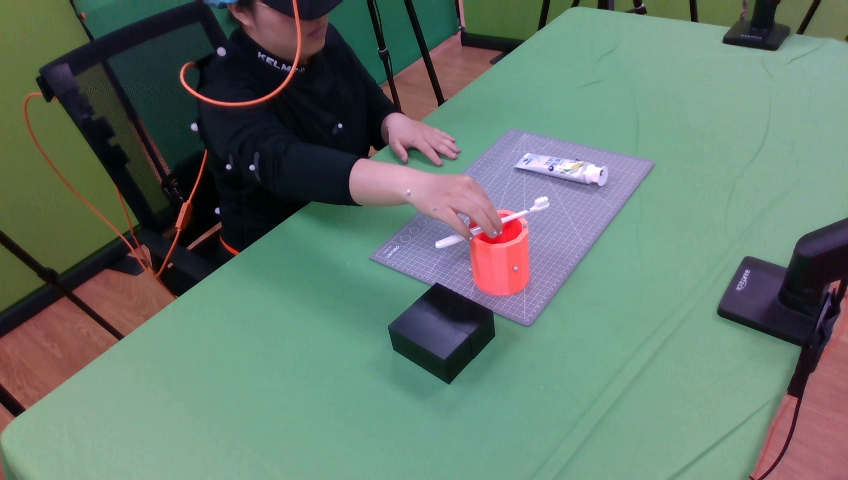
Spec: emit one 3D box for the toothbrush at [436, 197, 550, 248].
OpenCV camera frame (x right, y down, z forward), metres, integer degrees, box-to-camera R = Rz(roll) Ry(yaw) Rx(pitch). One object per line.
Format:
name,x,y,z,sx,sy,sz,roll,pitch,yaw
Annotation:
toothbrush,0.099,-0.025,0.851,0.182,0.017,0.014,-21,48,-14

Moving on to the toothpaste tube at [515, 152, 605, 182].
toothpaste tube,0.248,-0.133,1.087,0.164,0.034,0.055,17,42,34

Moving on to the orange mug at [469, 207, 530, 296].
orange mug,0.104,0.008,0.894,0.084,0.101,0.125,-22,46,-14

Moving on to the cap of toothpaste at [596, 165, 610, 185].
cap of toothpaste,0.307,-0.113,1.041,0.011,0.037,0.037,20,48,39
